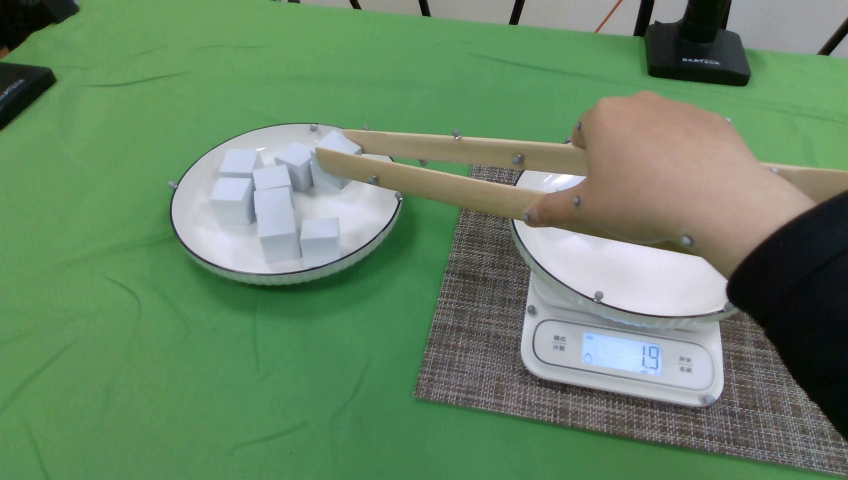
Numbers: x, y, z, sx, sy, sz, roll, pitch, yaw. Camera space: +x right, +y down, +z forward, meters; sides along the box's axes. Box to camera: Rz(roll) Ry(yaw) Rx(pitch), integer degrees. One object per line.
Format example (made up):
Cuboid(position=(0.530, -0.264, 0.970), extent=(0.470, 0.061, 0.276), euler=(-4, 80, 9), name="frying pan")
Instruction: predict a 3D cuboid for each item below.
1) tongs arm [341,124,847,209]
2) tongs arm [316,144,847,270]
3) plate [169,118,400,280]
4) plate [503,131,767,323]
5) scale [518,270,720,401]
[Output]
Cuboid(position=(0.080, -0.047, 0.401), extent=(0.382, 0.027, 0.050), euler=(10, 44, 33), name="tongs arm")
Cuboid(position=(0.066, -0.032, 0.388), extent=(0.384, 0.028, 0.028), euler=(14, 43, 36), name="tongs arm")
Cuboid(position=(-0.126, -0.038, 0.567), extent=(0.209, 0.038, 0.207), euler=(1, 47, 0), name="plate")
Cuboid(position=(0.167, -0.012, 0.499), extent=(0.208, 0.039, 0.205), euler=(1, 48, -1), name="plate")
Cuboid(position=(0.162, 0.031, 0.504), extent=(0.148, 0.032, 0.199), euler=(9, 48, 9), name="scale")
